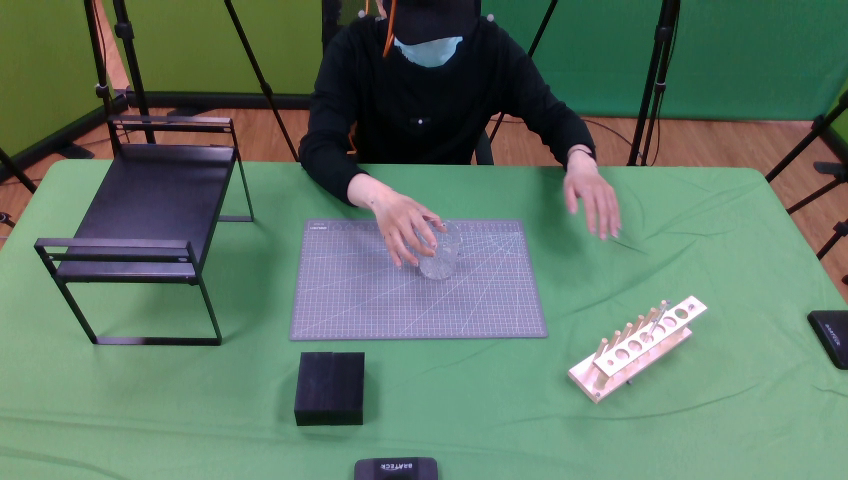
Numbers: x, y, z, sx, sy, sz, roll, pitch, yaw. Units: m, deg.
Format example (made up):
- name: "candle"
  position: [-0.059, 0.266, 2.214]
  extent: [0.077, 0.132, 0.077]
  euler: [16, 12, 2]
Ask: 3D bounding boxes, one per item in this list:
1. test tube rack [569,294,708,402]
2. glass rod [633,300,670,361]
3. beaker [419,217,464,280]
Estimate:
- name: "test tube rack"
  position: [0.360, 0.167, 1.015]
  extent: [0.242, 0.085, 0.066]
  euler: [-25, 52, -25]
- name: "glass rod"
  position: [0.351, 0.144, 0.944]
  extent: [0.008, 0.201, 0.008]
  euler: [-1, 55, 1]
- name: "beaker"
  position: [0.030, 0.019, 1.119]
  extent: [0.084, 0.101, 0.073]
  euler: [18, 48, 12]
